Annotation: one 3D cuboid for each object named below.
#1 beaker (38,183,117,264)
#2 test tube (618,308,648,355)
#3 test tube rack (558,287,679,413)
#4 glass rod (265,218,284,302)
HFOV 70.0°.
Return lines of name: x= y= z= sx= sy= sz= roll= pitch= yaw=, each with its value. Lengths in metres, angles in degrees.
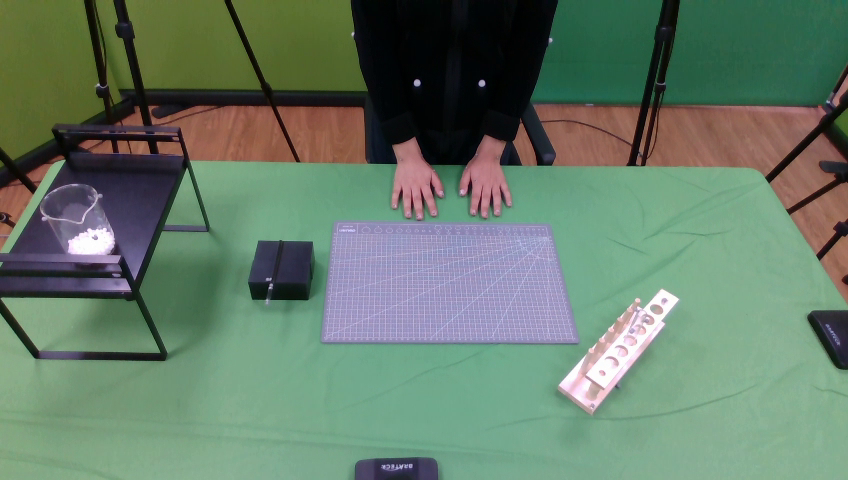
beaker: x=-0.493 y=-0.019 z=0.874 sx=0.074 sy=0.101 sz=0.083 roll=-29 pitch=55 yaw=-27
test tube: x=0.327 y=0.154 z=0.956 sx=0.017 sy=0.151 sz=0.017 roll=-1 pitch=50 yaw=1
test tube rack: x=0.326 y=0.170 z=1.009 sx=0.066 sy=0.085 sz=0.242 roll=36 pitch=54 yaw=27
glass rod: x=-0.267 y=0.031 z=1.084 sx=0.008 sy=0.008 sz=0.198 roll=1 pitch=47 yaw=-3
